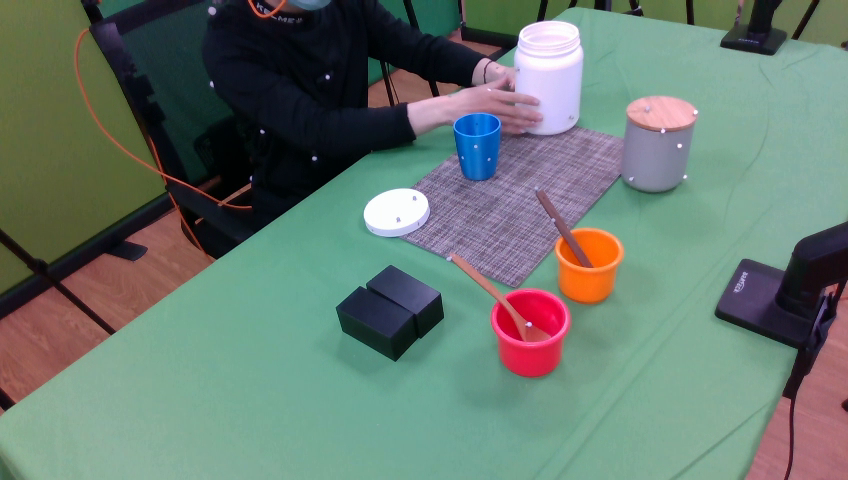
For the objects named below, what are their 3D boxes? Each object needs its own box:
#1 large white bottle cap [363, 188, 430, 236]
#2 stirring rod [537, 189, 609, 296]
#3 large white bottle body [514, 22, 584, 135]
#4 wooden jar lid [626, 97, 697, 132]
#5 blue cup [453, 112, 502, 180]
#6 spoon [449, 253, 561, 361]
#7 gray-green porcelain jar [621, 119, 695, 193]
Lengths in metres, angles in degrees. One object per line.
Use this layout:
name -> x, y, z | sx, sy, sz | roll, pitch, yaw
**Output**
large white bottle cap -> -0.048, -0.050, 1.040 | 0.115, 0.018, 0.114 | -7, 41, 6
stirring rod -> 0.210, 0.003, 0.855 | 0.014, 0.006, 0.176 | -32, 89, -30
large white bottle body -> 0.241, -0.314, 1.175 | 0.130, 0.185, 0.130 | -4, 41, 4
wooden jar lid -> 0.381, -0.198, 0.976 | 0.108, 0.021, 0.108 | -2, 40, 3
blue cup -> 0.097, -0.165, 1.088 | 0.092, 0.100, 0.092 | -3, 40, 3
spoon -> 0.103, 0.083, 0.770 | 0.194, 0.021, 0.042 | 47, 52, -7
gray-green porcelain jar -> 0.389, -0.152, 1.016 | 0.106, 0.127, 0.105 | -4, 40, 4
